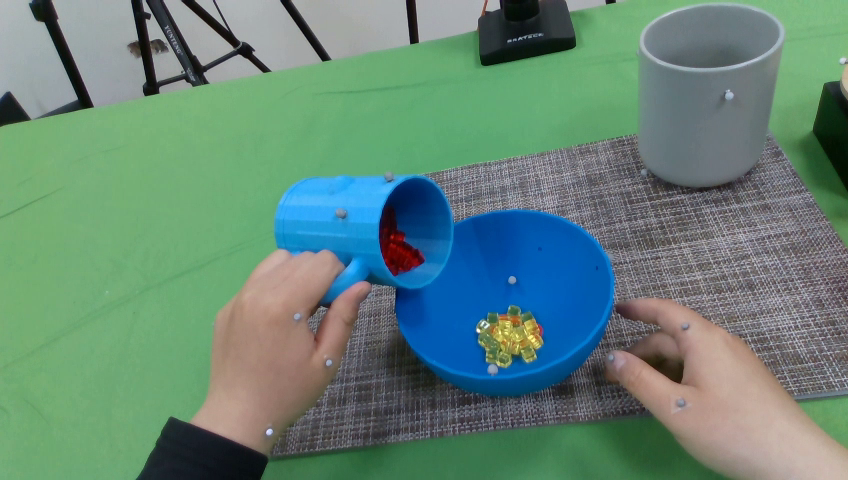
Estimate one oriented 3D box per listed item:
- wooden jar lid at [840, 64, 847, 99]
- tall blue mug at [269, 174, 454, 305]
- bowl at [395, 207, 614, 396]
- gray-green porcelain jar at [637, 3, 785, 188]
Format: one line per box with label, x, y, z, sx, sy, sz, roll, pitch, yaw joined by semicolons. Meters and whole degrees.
wooden jar lid;0.391;-0.119;0.477;0.108;0.021;0.107;-10;44;10
tall blue mug;-0.049;0.006;0.428;0.107;0.078;0.106;5;68;40
bowl;0.060;0.056;0.437;0.151;0.077;0.150;-9;44;9
gray-green porcelain jar;0.237;-0.117;0.516;0.106;0.128;0.105;-9;45;10
